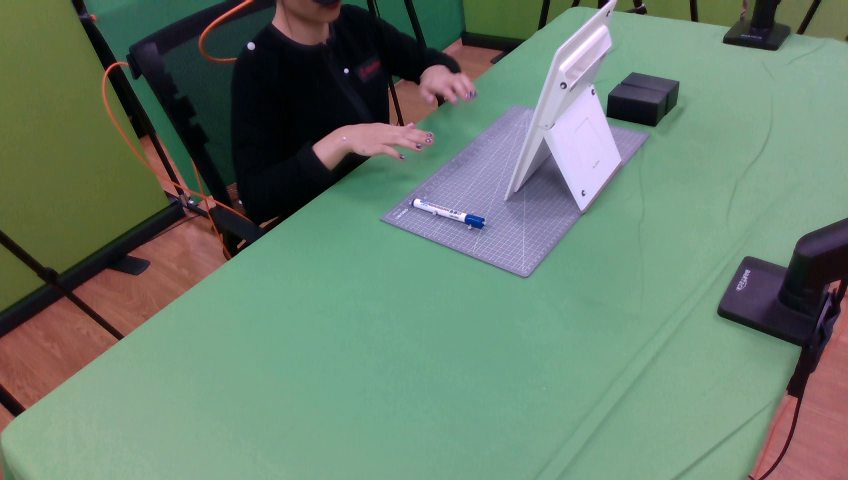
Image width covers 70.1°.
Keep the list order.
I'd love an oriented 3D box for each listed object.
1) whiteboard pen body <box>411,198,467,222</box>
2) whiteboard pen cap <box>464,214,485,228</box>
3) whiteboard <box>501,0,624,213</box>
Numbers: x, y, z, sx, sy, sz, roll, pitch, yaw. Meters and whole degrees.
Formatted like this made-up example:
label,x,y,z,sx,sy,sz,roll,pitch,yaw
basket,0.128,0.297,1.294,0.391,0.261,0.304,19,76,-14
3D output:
label,x,y,z,sx,sy,sz,roll,pitch,yaw
whiteboard pen body,0.036,-0.049,1.029,0.139,0.017,0.017,19,48,32
whiteboard pen cap,0.084,-0.032,0.998,0.033,0.018,0.018,18,48,33
whiteboard,0.271,-0.189,0.977,0.143,0.306,0.218,34,53,16
